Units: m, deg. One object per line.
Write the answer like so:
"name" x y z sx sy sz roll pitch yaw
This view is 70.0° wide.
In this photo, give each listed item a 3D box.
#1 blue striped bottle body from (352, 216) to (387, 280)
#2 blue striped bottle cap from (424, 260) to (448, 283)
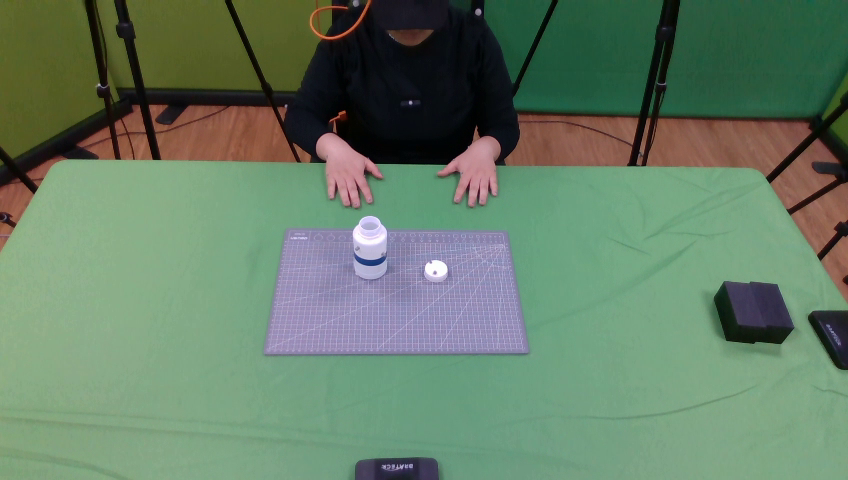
"blue striped bottle body" -0.100 0.012 1.107 0.063 0.121 0.062 2 46 -2
"blue striped bottle cap" 0.022 0.060 1.145 0.044 0.021 0.044 2 47 -2
